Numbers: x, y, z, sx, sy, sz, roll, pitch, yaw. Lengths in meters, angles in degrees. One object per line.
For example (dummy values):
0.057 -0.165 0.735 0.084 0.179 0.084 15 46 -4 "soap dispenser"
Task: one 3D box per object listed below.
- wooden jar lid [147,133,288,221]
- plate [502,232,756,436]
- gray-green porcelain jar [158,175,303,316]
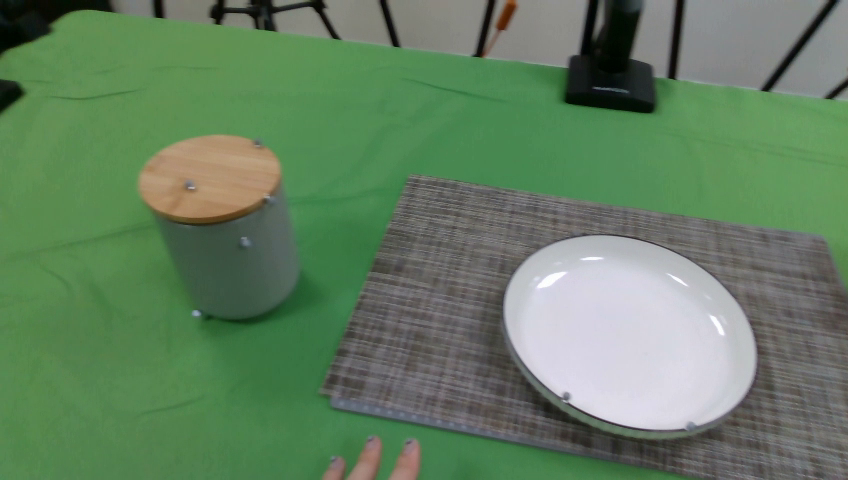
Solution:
-0.165 -0.049 0.491 0.108 0.021 0.107 4 44 -3 "wooden jar lid"
0.169 0.077 0.521 0.208 0.039 0.205 1 45 0 "plate"
-0.165 -0.003 0.537 0.106 0.127 0.105 1 45 -1 "gray-green porcelain jar"
